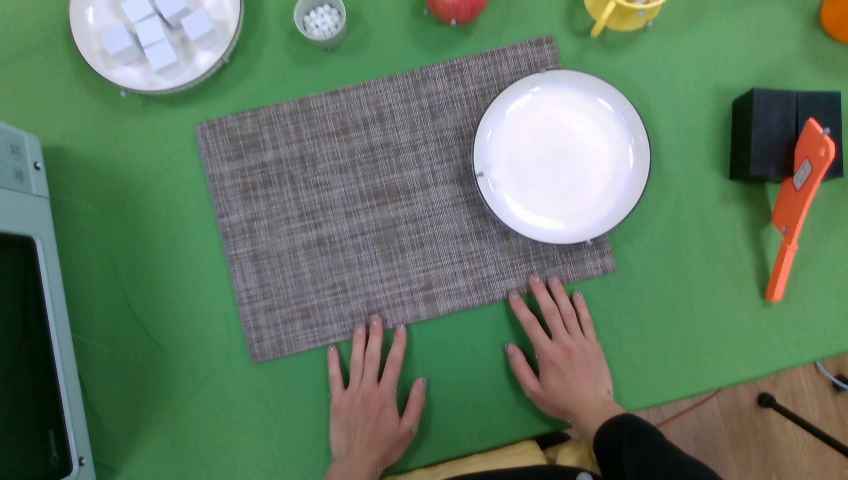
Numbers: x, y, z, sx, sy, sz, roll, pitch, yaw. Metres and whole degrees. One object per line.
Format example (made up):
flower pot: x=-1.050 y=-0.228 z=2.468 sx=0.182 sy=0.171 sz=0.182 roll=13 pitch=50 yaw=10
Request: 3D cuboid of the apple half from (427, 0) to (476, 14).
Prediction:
apple half: x=0.023 y=-0.303 z=0.710 sx=0.053 sy=0.074 sz=0.081 roll=-23 pitch=91 yaw=4

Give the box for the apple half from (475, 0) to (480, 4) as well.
apple half: x=0.058 y=-0.319 z=0.709 sx=0.033 sy=0.081 sz=0.081 roll=-23 pitch=87 yaw=4

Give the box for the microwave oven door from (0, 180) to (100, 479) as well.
microwave oven door: x=-0.427 y=0.109 z=0.591 sx=0.039 sy=0.244 sz=0.355 roll=-12 pitch=87 yaw=0

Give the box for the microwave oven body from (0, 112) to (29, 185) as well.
microwave oven body: x=-0.579 y=0.097 z=0.598 sx=0.326 sy=0.260 sz=0.441 roll=-12 pitch=88 yaw=-1

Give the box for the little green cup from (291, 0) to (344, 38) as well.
little green cup: x=-0.125 y=-0.274 z=0.726 sx=0.061 sy=0.038 sz=0.061 roll=0 pitch=87 yaw=1

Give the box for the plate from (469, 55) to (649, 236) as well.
plate: x=0.156 y=-0.108 z=0.712 sx=0.209 sy=0.038 sz=0.208 roll=0 pitch=87 yaw=1

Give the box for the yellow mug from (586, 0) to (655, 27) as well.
yellow mug: x=0.231 y=-0.308 z=0.711 sx=0.100 sy=0.064 sz=0.131 roll=33 pitch=89 yaw=2

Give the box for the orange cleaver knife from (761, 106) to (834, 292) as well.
orange cleaver knife: x=0.415 y=-0.042 z=0.689 sx=0.012 sy=0.076 sz=0.213 roll=5 pitch=117 yaw=4

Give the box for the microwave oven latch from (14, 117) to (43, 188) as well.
microwave oven latch: x=-0.468 y=-0.100 z=0.703 sx=0.030 sy=0.029 sz=0.079 roll=-10 pitch=88 yaw=-1

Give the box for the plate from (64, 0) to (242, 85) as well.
plate: x=-0.319 y=-0.286 z=0.728 sx=0.208 sy=0.039 sz=0.207 roll=0 pitch=87 yaw=1
